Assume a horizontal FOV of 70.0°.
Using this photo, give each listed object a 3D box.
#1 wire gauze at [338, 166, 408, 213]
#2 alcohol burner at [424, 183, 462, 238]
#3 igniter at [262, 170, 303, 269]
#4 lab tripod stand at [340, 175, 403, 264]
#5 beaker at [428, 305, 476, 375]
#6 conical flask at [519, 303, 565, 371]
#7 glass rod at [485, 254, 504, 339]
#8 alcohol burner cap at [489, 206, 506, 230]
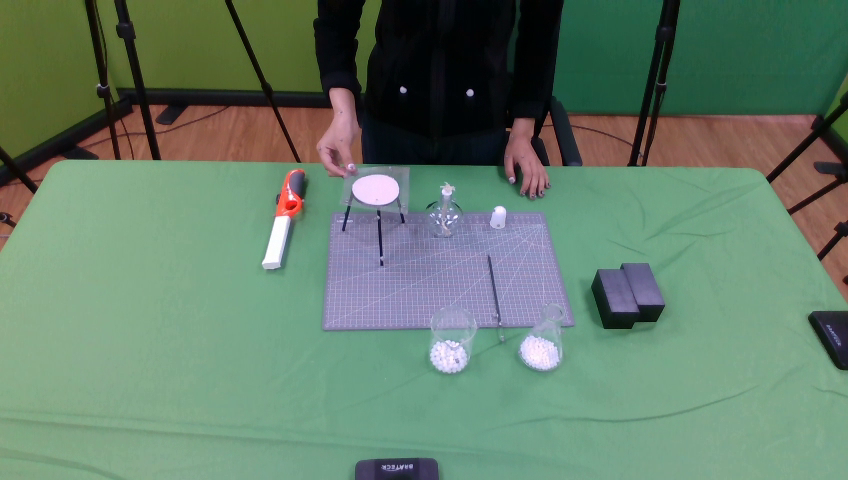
[{"bbox_3d":[-0.091,-0.097,1.110,0.125,0.011,0.120,4,45,-2],"label":"wire gauze"},{"bbox_3d":[0.039,-0.063,1.197,0.078,0.119,0.077,2,44,-2],"label":"alcohol burner"},{"bbox_3d":[-0.283,-0.050,1.222,0.057,0.025,0.275,-5,45,6],"label":"igniter"},{"bbox_3d":[-0.093,-0.050,1.160,0.148,0.132,0.147,2,44,-2],"label":"lab tripod stand"},{"bbox_3d":[0.044,0.169,0.987,0.074,0.101,0.083,1,47,-3],"label":"beaker"},{"bbox_3d":[0.201,0.155,0.997,0.075,0.122,0.075,2,46,-2],"label":"conical flask"},{"bbox_3d":[0.129,0.099,1.119,0.008,0.008,0.198,-1,46,-4],"label":"glass rod"},{"bbox_3d":[0.152,-0.047,1.241,0.034,0.048,0.033,2,45,-2],"label":"alcohol burner cap"}]
